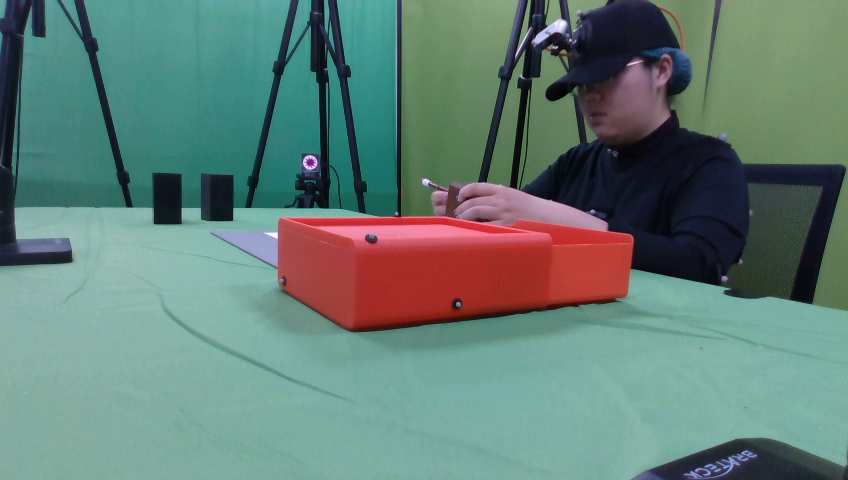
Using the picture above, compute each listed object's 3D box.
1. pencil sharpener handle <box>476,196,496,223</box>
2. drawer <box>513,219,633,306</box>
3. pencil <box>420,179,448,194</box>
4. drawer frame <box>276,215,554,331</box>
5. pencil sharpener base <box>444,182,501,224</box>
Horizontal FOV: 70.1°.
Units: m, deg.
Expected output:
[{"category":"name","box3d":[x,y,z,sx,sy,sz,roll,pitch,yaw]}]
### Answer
[{"category":"pencil sharpener handle","box3d":[0.103,-0.031,0.936,0.036,0.068,0.030,-6,20,-27]},{"category":"drawer","box3d":[0.085,0.022,0.674,0.213,0.073,0.193,-2,9,-32]},{"category":"pencil","box3d":[0.042,-0.083,1.042,0.012,0.012,0.193,-1,16,-29]},{"category":"drawer frame","box3d":[-0.015,0.022,0.610,0.215,0.082,0.200,-3,9,-32]},{"category":"pencil sharpener base","box3d":[0.076,-0.034,0.981,0.061,0.107,0.076,0,17,-29]}]
